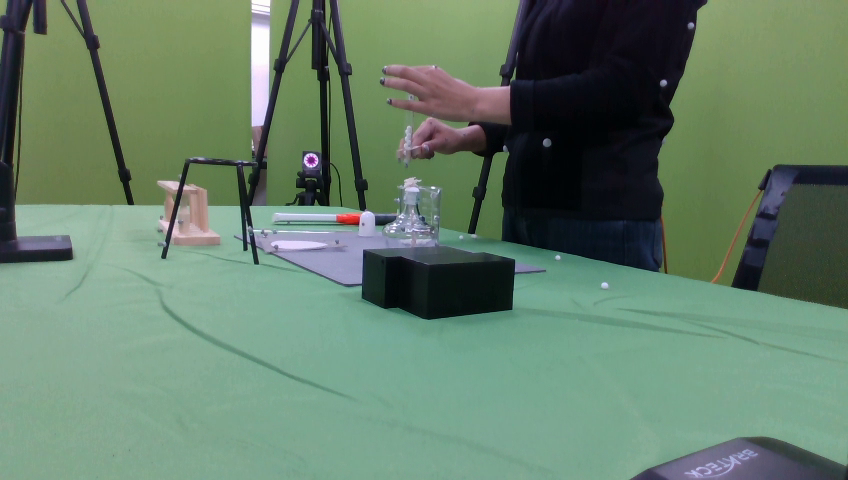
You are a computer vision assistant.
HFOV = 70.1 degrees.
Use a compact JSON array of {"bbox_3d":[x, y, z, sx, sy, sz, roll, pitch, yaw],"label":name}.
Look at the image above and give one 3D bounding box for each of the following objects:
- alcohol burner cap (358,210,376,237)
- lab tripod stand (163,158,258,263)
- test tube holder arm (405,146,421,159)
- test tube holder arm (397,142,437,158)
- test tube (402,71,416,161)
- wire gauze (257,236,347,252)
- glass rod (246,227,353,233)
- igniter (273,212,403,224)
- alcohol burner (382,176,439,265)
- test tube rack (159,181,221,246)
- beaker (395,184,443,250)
[{"bbox_3d":[-0.104,-0.030,1.098,0.034,0.048,0.034,2,7,0],"label":"alcohol burner cap"},{"bbox_3d":[-0.265,-0.041,0.802,0.148,0.131,0.148,4,7,0],"label":"lab tripod stand"},{"bbox_3d":[-0.018,-0.153,1.048,0.010,0.015,0.088,6,16,10],"label":"test tube holder arm"},{"bbox_3d":[-0.010,-0.164,1.091,0.013,0.015,0.179,9,17,18],"label":"test tube holder arm"},{"bbox_3d":[-0.025,-0.208,1.017,0.017,0.150,0.017,4,10,0],"label":"test tube"},{"bbox_3d":[-0.189,0.005,0.931,0.122,0.011,0.124,1,7,-21],"label":"wire gauze"},{"bbox_3d":[-0.224,-0.017,1.109,0.201,0.008,0.008,1,7,-27],"label":"glass rod"},{"bbox_3d":[-0.179,-0.048,1.290,0.278,0.025,0.057,-1,-2,-24],"label":"igniter"},{"bbox_3d":[-0.018,-0.027,0.818,0.078,0.119,0.078,3,10,0],"label":"alcohol burner"},{"bbox_3d":[-0.395,-0.050,1.010,0.067,0.085,0.241,-2,8,-28],"label":"test tube rack"},{"bbox_3d":[-0.007,-0.037,0.965,0.074,0.100,0.083,-4,11,-40],"label":"beaker"}]
